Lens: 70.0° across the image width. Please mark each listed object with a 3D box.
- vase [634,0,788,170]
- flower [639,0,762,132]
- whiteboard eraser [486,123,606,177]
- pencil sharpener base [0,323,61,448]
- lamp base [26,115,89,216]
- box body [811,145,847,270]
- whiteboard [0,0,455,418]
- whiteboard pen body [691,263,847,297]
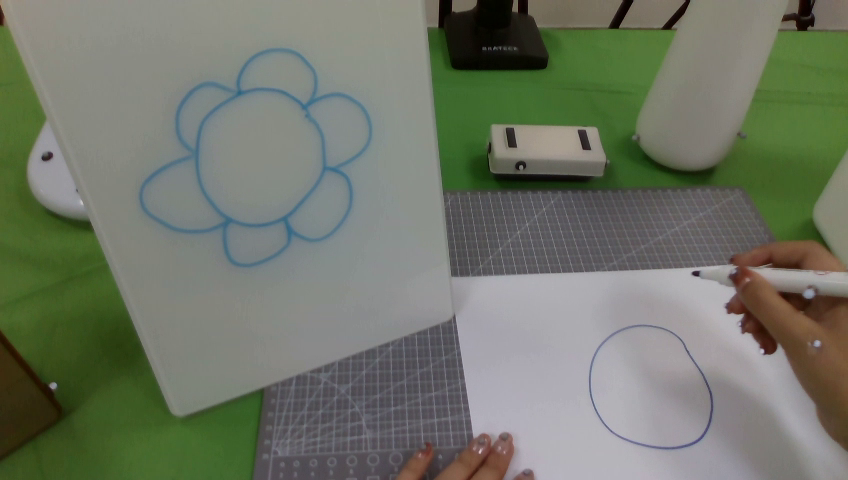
[{"bbox_3d":[0.274,-0.164,0.578,0.098,0.201,0.097,3,47,-2],"label":"vase"},{"bbox_3d":[0.289,-0.210,0.509,0.044,0.363,0.038,-21,69,-30],"label":"flower"},{"bbox_3d":[0.120,-0.089,0.605,0.113,0.042,0.055,0,45,-2],"label":"whiteboard eraser"},{"bbox_3d":[-0.292,0.076,0.379,0.076,0.108,0.061,35,55,26],"label":"pencil sharpener base"},{"bbox_3d":[-0.296,-0.138,0.528,0.178,0.182,0.160,29,52,25],"label":"lamp base"},{"bbox_3d":[0.492,0.042,0.427,0.254,0.162,0.360,0,47,-4],"label":"box body"},{"bbox_3d":[-0.114,-0.068,0.429,0.218,0.308,0.142,-17,31,-17],"label":"whiteboard"},{"bbox_3d":[0.236,0.025,0.385,0.017,0.017,0.140,-35,22,-30],"label":"whiteboard pen body"}]
